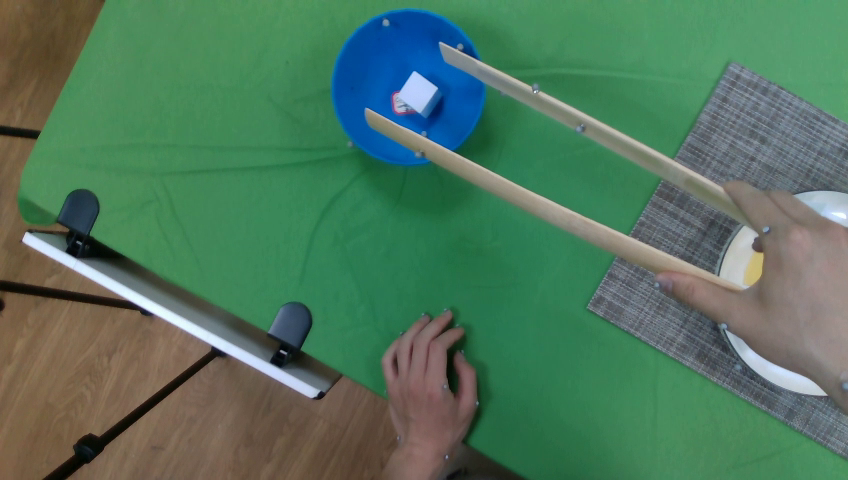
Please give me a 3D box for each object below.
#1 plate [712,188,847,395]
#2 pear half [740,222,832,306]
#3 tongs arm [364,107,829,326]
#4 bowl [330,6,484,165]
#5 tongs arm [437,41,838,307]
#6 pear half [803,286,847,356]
[{"bbox_3d":[0.396,0.051,0.617,0.207,0.039,0.207,0,91,3],"label":"plate"},{"bbox_3d":[0.376,0.021,0.604,0.076,0.056,0.110,40,90,-2],"label":"pear half"},{"bbox_3d":[0.098,-0.031,0.469,0.384,0.028,0.028,29,64,27],"label":"tongs arm"},{"bbox_3d":[-0.015,-0.148,0.619,0.151,0.077,0.151,0,91,3],"label":"bowl"},{"bbox_3d":[0.136,-0.070,0.485,0.381,0.027,0.050,36,70,29],"label":"tongs arm"},{"bbox_3d":[0.434,0.082,0.610,0.088,0.031,0.070,-29,93,9],"label":"pear half"}]
